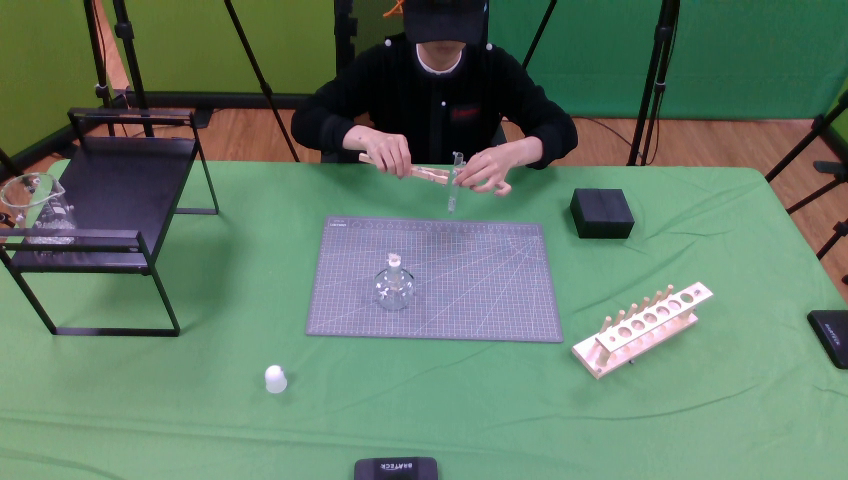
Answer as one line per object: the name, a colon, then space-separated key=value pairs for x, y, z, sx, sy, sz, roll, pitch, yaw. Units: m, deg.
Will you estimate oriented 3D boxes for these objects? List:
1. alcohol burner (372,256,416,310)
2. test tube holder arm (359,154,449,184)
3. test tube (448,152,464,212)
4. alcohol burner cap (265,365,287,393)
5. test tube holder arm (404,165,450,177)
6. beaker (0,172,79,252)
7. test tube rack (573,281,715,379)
alcohol burner: x=-0.052 y=0.068 z=1.057 sx=0.078 sy=0.120 sz=0.077 roll=1 pitch=48 yaw=-1
test tube holder arm: x=-0.039 y=-0.135 z=1.147 sx=0.178 sy=0.015 sz=0.013 roll=14 pitch=35 yaw=9
test tube: x=0.059 y=-0.107 z=1.151 sx=0.017 sy=0.151 sz=0.017 roll=2 pitch=50 yaw=-3
alcohol burner cap: x=-0.236 y=0.216 z=0.956 sx=0.034 sy=0.048 sz=0.033 roll=3 pitch=46 yaw=-3
test tube holder arm: x=0.005 y=-0.130 z=1.147 sx=0.088 sy=0.015 sz=0.010 roll=7 pitch=35 yaw=-2
beaker: x=-0.557 y=-0.038 z=0.889 sx=0.084 sy=0.101 sz=0.073 roll=-3 pitch=47 yaw=-8
test tube rack: x=0.378 y=0.140 z=1.038 sx=0.242 sy=0.085 sz=0.066 roll=-22 pitch=51 yaw=-23
